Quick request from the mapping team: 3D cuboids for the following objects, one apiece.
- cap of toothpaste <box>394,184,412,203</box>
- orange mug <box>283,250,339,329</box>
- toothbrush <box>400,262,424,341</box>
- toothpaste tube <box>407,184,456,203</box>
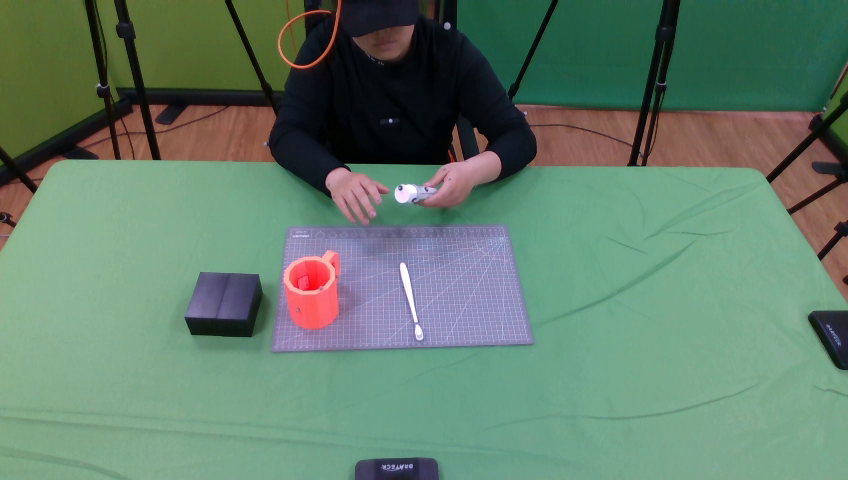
[{"bbox_3d":[-0.039,-0.087,1.124,0.037,0.037,0.011,31,20,24],"label":"cap of toothpaste"},{"bbox_3d":[-0.186,0.079,1.052,0.083,0.101,0.126,20,52,15],"label":"orange mug"},{"bbox_3d":[-0.025,0.106,1.093,0.014,0.017,0.180,-17,46,1],"label":"toothbrush"},{"bbox_3d":[0.004,-0.092,1.191,0.055,0.034,0.165,13,11,29],"label":"toothpaste tube"}]
